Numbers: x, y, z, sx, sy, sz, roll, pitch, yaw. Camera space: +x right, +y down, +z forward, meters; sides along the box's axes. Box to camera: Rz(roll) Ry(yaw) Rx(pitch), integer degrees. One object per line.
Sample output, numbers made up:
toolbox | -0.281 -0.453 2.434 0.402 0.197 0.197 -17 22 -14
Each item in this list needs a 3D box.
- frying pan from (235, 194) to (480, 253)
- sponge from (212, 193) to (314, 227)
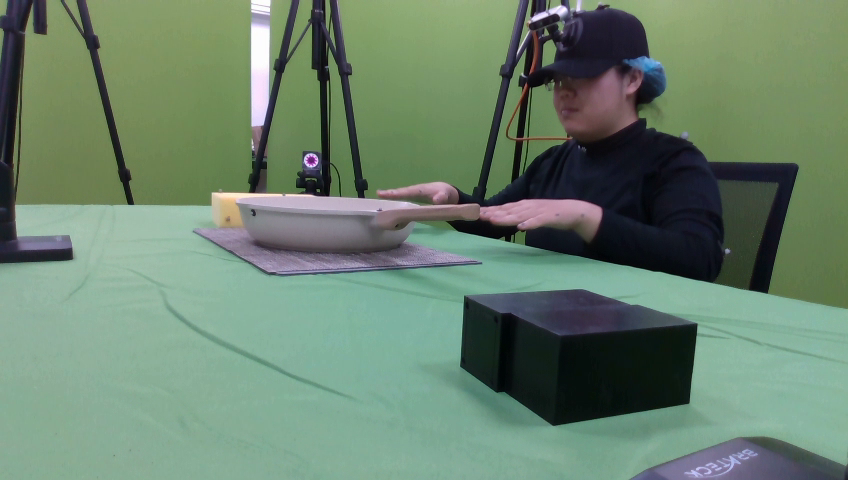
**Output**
frying pan | -0.089 -0.034 0.891 0.308 0.102 0.485 -4 2 -36
sponge | -0.317 -0.063 1.233 0.208 0.061 0.117 -2 8 -27
